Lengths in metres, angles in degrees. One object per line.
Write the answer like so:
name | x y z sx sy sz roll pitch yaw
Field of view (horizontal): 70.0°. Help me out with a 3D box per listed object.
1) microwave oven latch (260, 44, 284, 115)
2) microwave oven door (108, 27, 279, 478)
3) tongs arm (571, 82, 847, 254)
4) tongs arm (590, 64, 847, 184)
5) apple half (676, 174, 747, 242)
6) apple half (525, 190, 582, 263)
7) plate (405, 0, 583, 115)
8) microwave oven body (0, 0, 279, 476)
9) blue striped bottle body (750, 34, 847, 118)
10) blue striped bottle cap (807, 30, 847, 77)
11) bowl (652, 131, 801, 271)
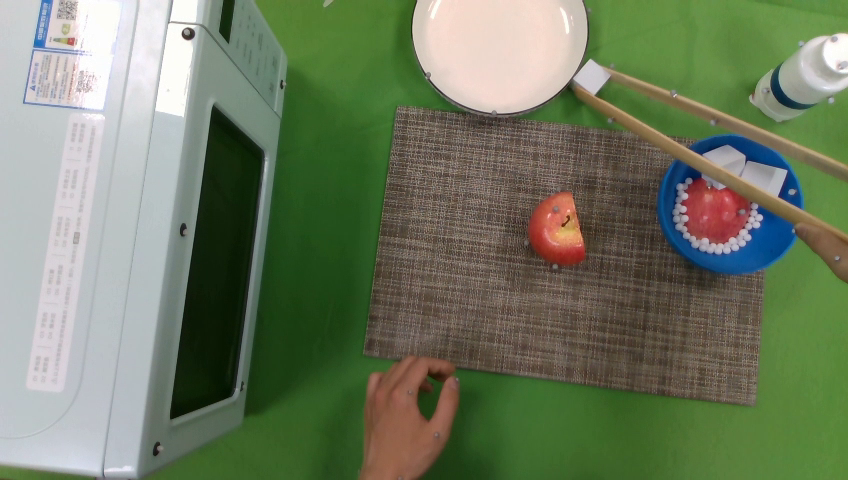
microwave oven latch | -0.181 -0.187 0.704 0.030 0.029 0.079 5 85 1
microwave oven door | -0.207 0.017 0.582 0.039 0.244 0.355 5 84 2
tongs arm | 0.273 -0.080 0.587 0.028 0.028 0.383 -42 46 -1
tongs arm | 0.290 -0.096 0.587 0.051 0.027 0.380 -47 46 -2
apple half | 0.321 -0.036 0.668 0.081 0.033 0.081 0 83 1
apple half | 0.140 -0.012 0.676 0.053 0.075 0.080 -12 87 3
plate | 0.082 -0.247 0.724 0.208 0.039 0.207 0 84 1
microwave oven body | -0.348 -0.037 0.595 0.326 0.260 0.440 5 85 1
blue striped bottle body | 0.420 -0.183 0.668 0.063 0.121 0.063 0 83 2
blue striped bottle cap | 0.419 -0.190 0.617 0.044 0.020 0.044 0 86 2
bowl | 0.320 -0.037 0.673 0.151 0.077 0.151 0 84 1
